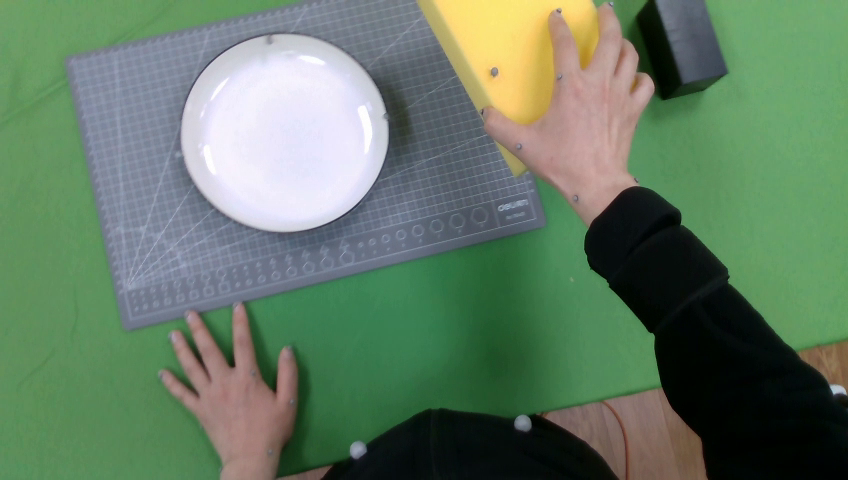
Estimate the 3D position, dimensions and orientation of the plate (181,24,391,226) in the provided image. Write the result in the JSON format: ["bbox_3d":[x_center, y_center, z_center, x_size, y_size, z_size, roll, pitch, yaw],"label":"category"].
[{"bbox_3d":[-0.137,-0.115,0.622,0.209,0.038,0.208,0,85,-2],"label":"plate"}]

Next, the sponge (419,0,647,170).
[{"bbox_3d":[0.086,-0.181,0.532,0.118,0.061,0.206,-30,89,-2],"label":"sponge"}]
